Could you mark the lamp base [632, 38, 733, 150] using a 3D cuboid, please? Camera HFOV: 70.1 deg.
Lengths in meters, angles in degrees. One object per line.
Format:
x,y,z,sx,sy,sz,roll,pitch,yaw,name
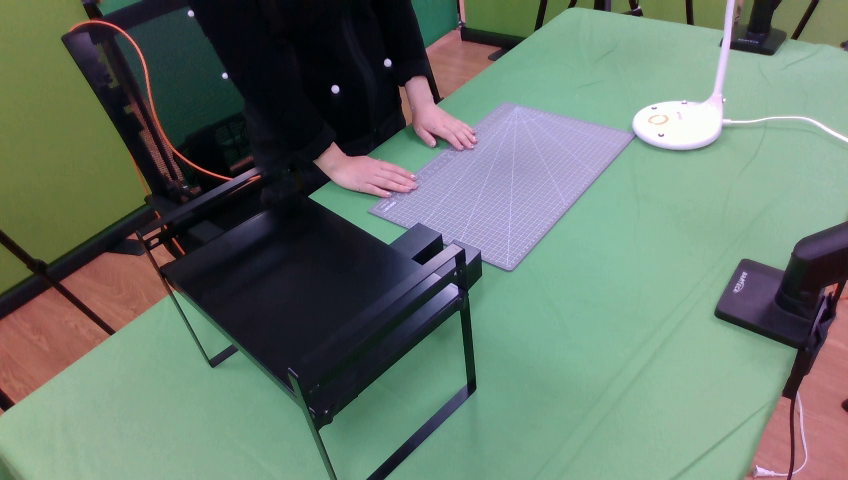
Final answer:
0.486,-0.280,1.108,0.179,0.181,0.159,-5,41,-1,lamp base
